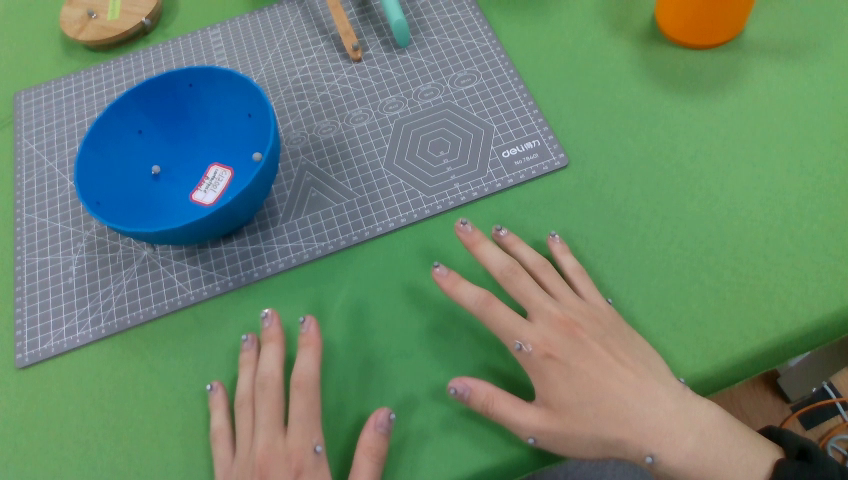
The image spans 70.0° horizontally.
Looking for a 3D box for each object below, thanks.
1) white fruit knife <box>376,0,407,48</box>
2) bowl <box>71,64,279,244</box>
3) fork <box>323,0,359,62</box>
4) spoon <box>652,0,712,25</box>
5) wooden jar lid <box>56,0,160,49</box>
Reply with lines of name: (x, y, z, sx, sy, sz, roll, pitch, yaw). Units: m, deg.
white fruit knife: (-0.057, -0.274, 0.573, 0.016, 0.027, 0.206, -21, 75, -5)
bowl: (-0.176, -0.053, 0.469, 0.151, 0.077, 0.150, -3, 61, 6)
fork: (-0.104, -0.258, 0.569, 0.028, 0.019, 0.206, -22, 79, -10)
spoon: (0.266, -0.240, 0.473, 0.022, 0.194, 0.041, 11, 53, -38)
wooden jar lid: (-0.323, -0.238, 0.626, 0.108, 0.021, 0.107, -2, 61, 5)
